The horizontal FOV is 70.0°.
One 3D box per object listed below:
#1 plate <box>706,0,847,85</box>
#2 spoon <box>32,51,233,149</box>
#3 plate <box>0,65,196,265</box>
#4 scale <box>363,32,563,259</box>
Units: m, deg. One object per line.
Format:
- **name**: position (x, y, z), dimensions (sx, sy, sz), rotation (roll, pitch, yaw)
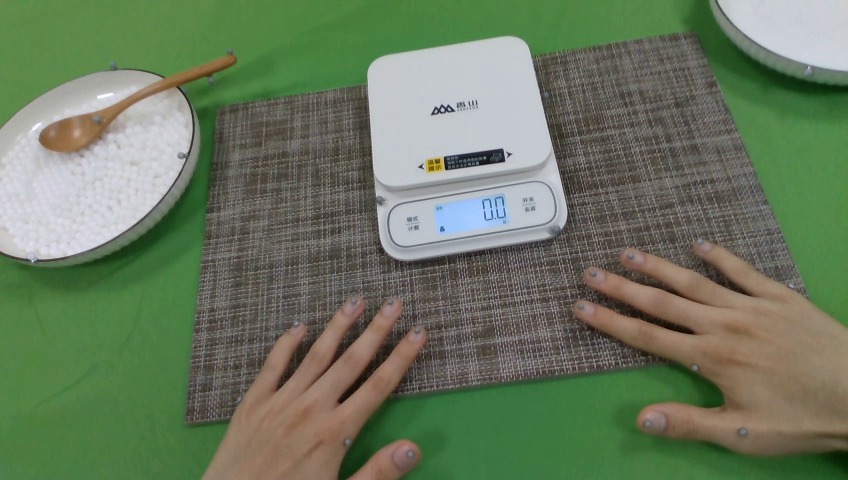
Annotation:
- **plate**: position (0.352, -0.211, 0.528), dimensions (0.207, 0.039, 0.206), rotation (-3, 61, 7)
- **spoon**: position (-0.265, -0.130, 0.553), dimensions (0.194, 0.022, 0.041), rotation (-25, 61, 3)
- **plate**: position (-0.302, -0.067, 0.543), dimensions (0.209, 0.038, 0.207), rotation (-3, 62, 6)
- **scale**: position (0.026, -0.085, 0.506), dimensions (0.148, 0.032, 0.199), rotation (-9, 62, 4)
